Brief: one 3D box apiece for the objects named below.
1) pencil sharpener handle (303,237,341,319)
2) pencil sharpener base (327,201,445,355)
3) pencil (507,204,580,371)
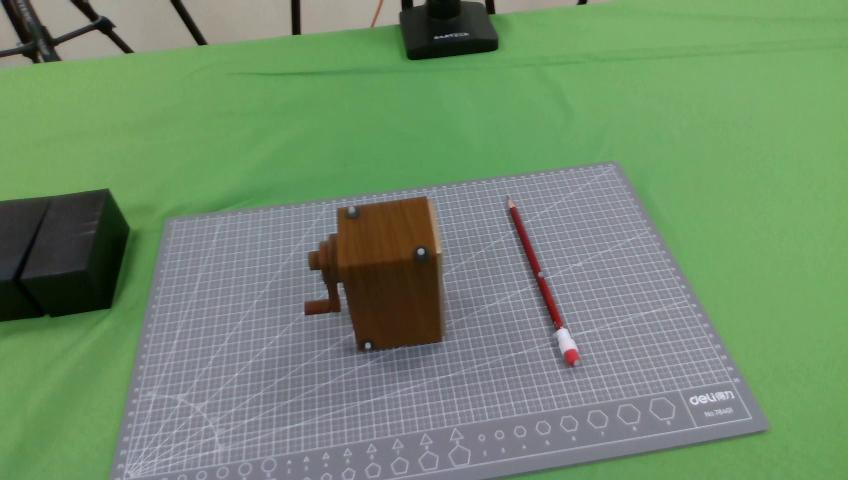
[{"bbox_3d":[-0.078,0.031,0.439,0.031,0.068,0.035,-7,36,-3],"label":"pencil sharpener handle"},{"bbox_3d":[-0.027,0.031,0.453,0.077,0.108,0.060,-7,46,-3],"label":"pencil sharpener base"},{"bbox_3d":[0.096,0.030,0.517,0.012,0.012,0.192,-8,44,-5],"label":"pencil"}]
